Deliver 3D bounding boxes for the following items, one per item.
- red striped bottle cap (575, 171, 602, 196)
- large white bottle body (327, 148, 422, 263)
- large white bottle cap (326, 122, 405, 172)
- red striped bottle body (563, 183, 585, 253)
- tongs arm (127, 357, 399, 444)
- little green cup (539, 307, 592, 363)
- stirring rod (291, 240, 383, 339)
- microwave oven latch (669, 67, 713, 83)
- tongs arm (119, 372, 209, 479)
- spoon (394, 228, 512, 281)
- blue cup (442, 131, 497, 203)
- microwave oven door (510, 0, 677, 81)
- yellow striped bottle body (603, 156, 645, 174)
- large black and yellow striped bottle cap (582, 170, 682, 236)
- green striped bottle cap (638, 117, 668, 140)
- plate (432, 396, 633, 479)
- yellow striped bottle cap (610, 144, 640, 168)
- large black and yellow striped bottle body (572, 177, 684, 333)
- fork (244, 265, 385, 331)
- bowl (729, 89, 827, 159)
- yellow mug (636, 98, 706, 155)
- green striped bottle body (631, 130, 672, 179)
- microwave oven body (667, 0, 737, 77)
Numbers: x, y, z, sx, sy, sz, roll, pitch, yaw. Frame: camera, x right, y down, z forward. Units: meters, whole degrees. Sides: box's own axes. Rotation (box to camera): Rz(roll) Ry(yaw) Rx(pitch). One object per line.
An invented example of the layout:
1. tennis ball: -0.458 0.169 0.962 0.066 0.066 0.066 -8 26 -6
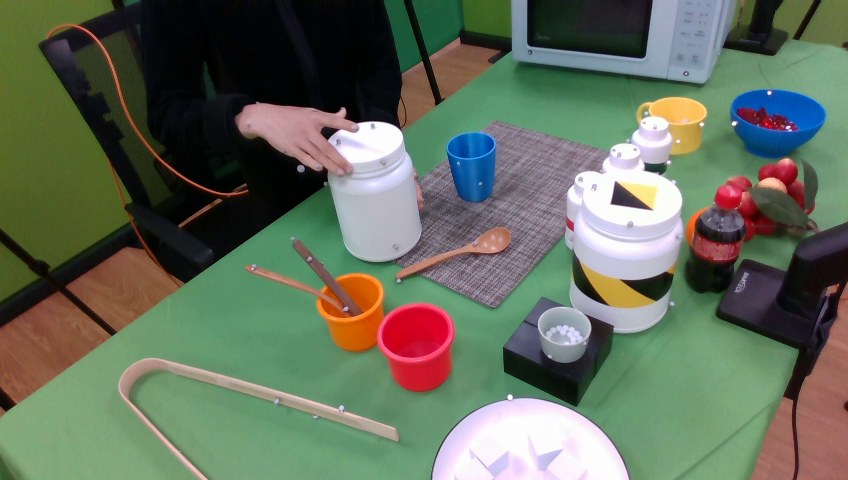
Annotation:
1. red striped bottle cap: 0.242 -0.081 0.876 0.044 0.018 0.044 -5 44 5
2. large white bottle body: -0.077 -0.071 0.939 0.130 0.185 0.130 -4 40 4
3. large white bottle cap: -0.086 -0.138 0.883 0.115 0.018 0.114 -4 40 4
4. red striped bottle body: 0.246 -0.041 0.910 0.063 0.120 0.062 -2 38 2
5. tongs arm: -0.213 0.205 0.755 0.382 0.026 0.051 12 46 23
6. little green cup: 0.168 0.115 0.721 0.061 0.039 0.061 -4 42 4
7. stirring rod: -0.119 0.068 0.826 0.176 0.006 0.014 48 59 -4
8. microwave oven latch: 0.556 -0.349 1.261 0.078 0.029 0.030 16 46 27
9. tongs arm: -0.258 0.257 0.700 0.384 0.028 0.028 24 55 34
10. spoon: 0.045 0.024 0.935 0.194 0.022 0.041 -18 66 -11
11. blue cup: 0.085 -0.121 1.039 0.092 0.100 0.092 -5 41 5
12. microwave oven door: 0.354 -0.478 1.290 0.353 0.245 0.039 15 45 25
13. yellow striped bottle body: 0.313 -0.089 0.956 0.063 0.121 0.062 -4 40 4
14. large black and yellow striped bottle cap: 0.252 -0.048 0.735 0.115 0.019 0.114 -3 40 3
15. green striped bottle cap: 0.369 -0.180 0.974 0.044 0.020 0.044 -4 41 4
16. plate: 0.112 0.261 0.634 0.209 0.038 0.208 -5 40 4
17. yellow striped bottle cap: 0.307 -0.128 0.923 0.044 0.019 0.044 -5 39 5
18. large black and yellow striped bottle body: 0.262 0.017 0.788 0.131 0.185 0.130 -5 40 4
19. fork: -0.142 0.078 0.806 0.209 0.018 0.028 30 31 -24
20. bowl: 0.615 -0.197 1.069 0.151 0.077 0.150 -5 40 5
21. yellow mug: 0.453 -0.218 1.128 0.100 0.064 0.129 -34 46 -27
22. green striped bottle body: 0.375 -0.140 1.007 0.063 0.120 0.063 -5 40 5
23. microwave oven body: 0.462 -0.552 1.368 0.439 0.261 0.326 14 45 26
